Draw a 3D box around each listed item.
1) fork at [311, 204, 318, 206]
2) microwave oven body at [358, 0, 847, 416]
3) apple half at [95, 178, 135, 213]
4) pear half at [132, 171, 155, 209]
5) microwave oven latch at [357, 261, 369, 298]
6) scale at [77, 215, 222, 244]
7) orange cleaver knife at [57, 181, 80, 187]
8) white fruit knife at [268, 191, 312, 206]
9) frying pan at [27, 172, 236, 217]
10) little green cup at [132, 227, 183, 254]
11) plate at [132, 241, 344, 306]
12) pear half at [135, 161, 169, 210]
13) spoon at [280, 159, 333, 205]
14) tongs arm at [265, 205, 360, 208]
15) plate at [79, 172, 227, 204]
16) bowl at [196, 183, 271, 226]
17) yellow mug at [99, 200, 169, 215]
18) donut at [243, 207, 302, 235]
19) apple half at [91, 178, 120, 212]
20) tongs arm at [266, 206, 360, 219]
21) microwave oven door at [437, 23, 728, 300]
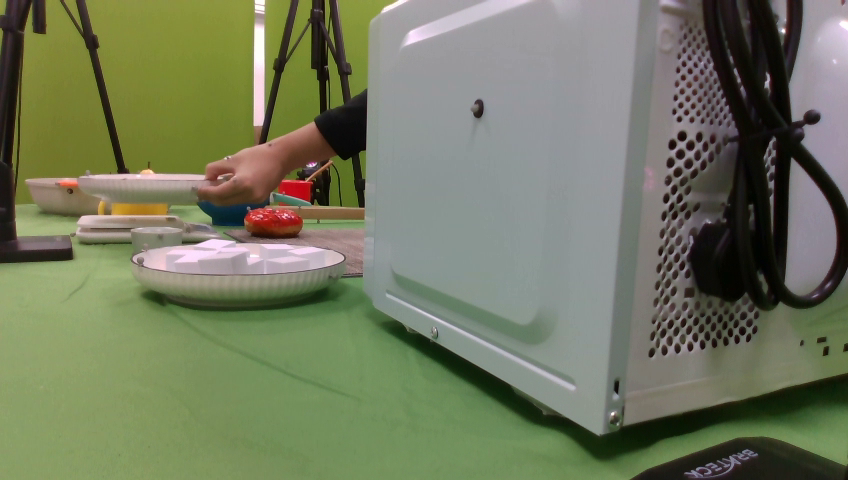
[{"bbox_3d":[-0.356,-0.105,1.526,0.208,0.018,0.028,16,-6,-41],"label":"fork"},{"bbox_3d":[0.211,-0.047,0.474,0.444,0.260,0.324,-1,7,-28],"label":"microwave oven body"},{"bbox_3d":[-0.638,-0.093,1.266,0.053,0.074,0.081,7,5,10],"label":"apple half"},{"bbox_3d":[-0.636,-0.113,1.362,0.031,0.088,0.070,3,13,1],"label":"pear half"},{"bbox_3d":[-0.019,0.033,0.530,0.079,0.029,0.030,-1,7,-26],"label":"microwave oven latch"},{"bbox_3d":[-0.434,-0.018,0.963,0.202,0.031,0.148,-1,9,-27],"label":"scale"},{"bbox_3d":[-0.600,-0.109,1.189,0.212,0.012,0.077,-1,11,-26],"label":"orange cleaver knife"},{"bbox_3d":[-0.364,-0.105,1.464,0.208,0.027,0.016,15,0,-34],"label":"white fruit knife"},{"bbox_3d":[-0.624,-0.118,1.387,0.305,0.102,0.490,8,17,32],"label":"frying pan"},{"bbox_3d":[-0.342,0.005,0.779,0.061,0.038,0.061,3,9,0],"label":"little green cup"},{"bbox_3d":[-0.187,0.033,0.625,0.208,0.039,0.207,2,7,0],"label":"plate"},{"bbox_3d":[-0.602,-0.120,1.354,0.056,0.110,0.076,4,11,5],"label":"pear half"},{"bbox_3d":[-0.316,-0.159,1.640,0.194,0.022,0.041,-50,32,-20],"label":"spoon"},{"bbox_3d":[-0.210,-0.067,1.439,0.389,0.027,0.028,0,-1,-17],"label":"tongs arm"},{"bbox_3d":[-0.415,-0.081,0.937,0.209,0.038,0.209,1,9,0],"label":"plate"},{"bbox_3d":[-0.382,-0.070,1.202,0.151,0.077,0.151,3,7,0],"label":"bowl"},{"bbox_3d":[-0.519,-0.055,1.080,0.099,0.064,0.131,7,10,26],"label":"yellow mug"},{"bbox_3d":[-0.261,-0.032,1.043,0.099,0.048,0.099,4,9,0],"label":"donut"},{"bbox_3d":[-0.677,-0.096,1.271,0.033,0.081,0.081,7,8,10],"label":"apple half"},{"bbox_3d":[-0.173,-0.061,1.362,0.387,0.026,0.050,-1,3,-31],"label":"tongs arm"},{"bbox_3d":[0.180,-0.073,0.621,0.358,0.243,0.039,-2,9,-29],"label":"microwave oven door"}]
